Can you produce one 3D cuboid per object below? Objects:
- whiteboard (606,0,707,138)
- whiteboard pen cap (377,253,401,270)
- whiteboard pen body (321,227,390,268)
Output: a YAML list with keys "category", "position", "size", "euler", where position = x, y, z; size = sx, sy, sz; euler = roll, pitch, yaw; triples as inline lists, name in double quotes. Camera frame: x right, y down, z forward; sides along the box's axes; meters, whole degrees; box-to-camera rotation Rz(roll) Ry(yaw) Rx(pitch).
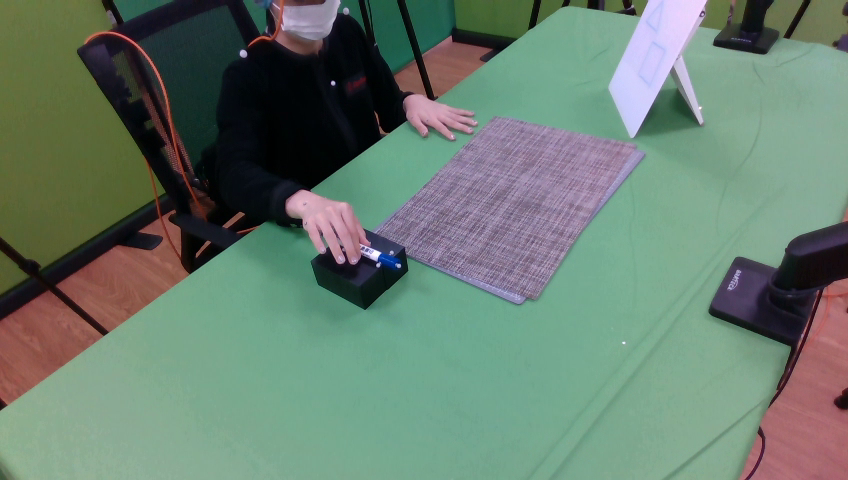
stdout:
- category: "whiteboard"
  position: [0.496, -0.359, 1.147]
  size: [0.144, 0.305, 0.216]
  euler: [11, 40, -7]
- category: "whiteboard pen cap"
  position: [-0.051, 0.030, 0.870]
  size: [0.033, 0.018, 0.018]
  euler: [21, 48, 28]
- category: "whiteboard pen body"
  position: [-0.098, 0.013, 0.903]
  size: [0.140, 0.017, 0.017]
  euler: [26, 50, 25]
